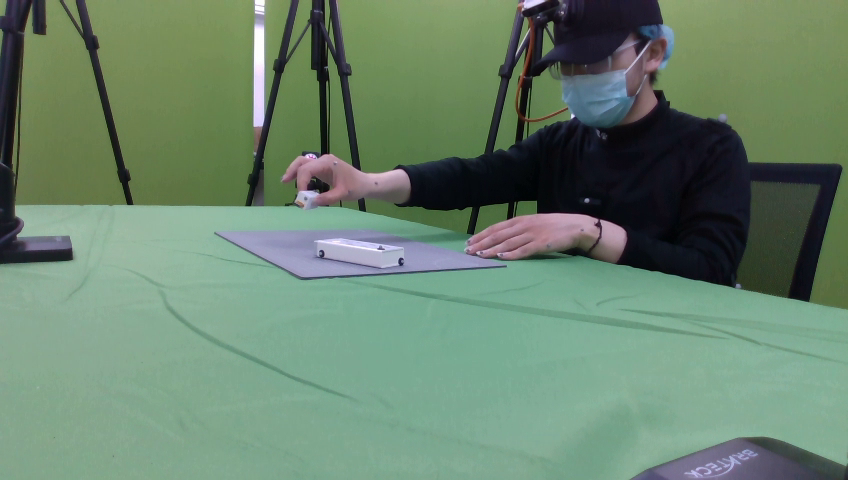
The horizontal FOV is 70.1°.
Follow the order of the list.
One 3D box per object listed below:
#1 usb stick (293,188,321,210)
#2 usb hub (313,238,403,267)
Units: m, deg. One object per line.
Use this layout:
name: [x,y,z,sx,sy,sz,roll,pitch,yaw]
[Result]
usb stick: [-0.191,-0.066,0.975,0.021,0.027,0.059,30,20,8]
usb hub: [-0.091,0.016,0.818,0.124,0.025,0.050,7,9,36]
